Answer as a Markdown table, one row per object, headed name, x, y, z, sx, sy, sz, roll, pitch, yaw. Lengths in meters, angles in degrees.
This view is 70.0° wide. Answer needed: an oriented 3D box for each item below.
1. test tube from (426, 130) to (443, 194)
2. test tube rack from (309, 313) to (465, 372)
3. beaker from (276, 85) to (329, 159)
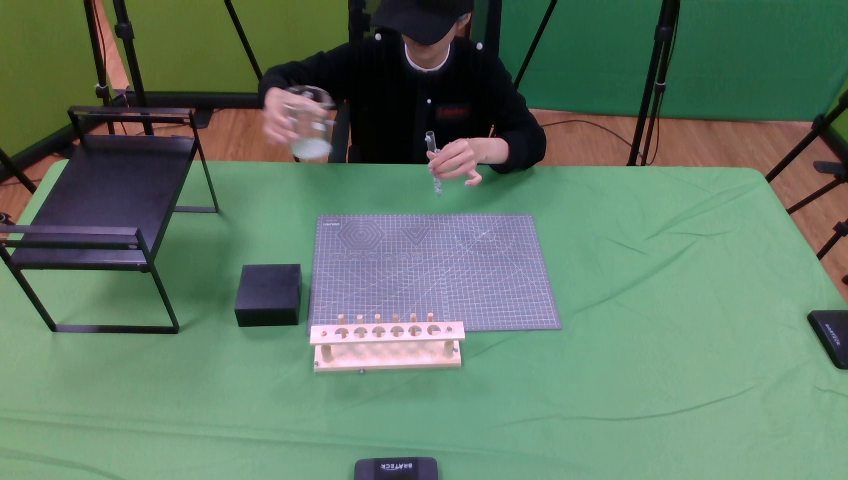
| name | x | y | z | sx | sy | sz | roll | pitch | yaw |
| --- | --- | --- | --- | --- | --- | --- | --- | --- | --- |
| test tube | 0.021 | -0.141 | 1.127 | 0.017 | 0.151 | 0.017 | -5 | 48 | 6 |
| test tube rack | -0.059 | 0.161 | 0.990 | 0.242 | 0.085 | 0.066 | -1 | 46 | -5 |
| beaker | -0.192 | -0.191 | 0.990 | 0.084 | 0.101 | 0.073 | 6 | 42 | 6 |
